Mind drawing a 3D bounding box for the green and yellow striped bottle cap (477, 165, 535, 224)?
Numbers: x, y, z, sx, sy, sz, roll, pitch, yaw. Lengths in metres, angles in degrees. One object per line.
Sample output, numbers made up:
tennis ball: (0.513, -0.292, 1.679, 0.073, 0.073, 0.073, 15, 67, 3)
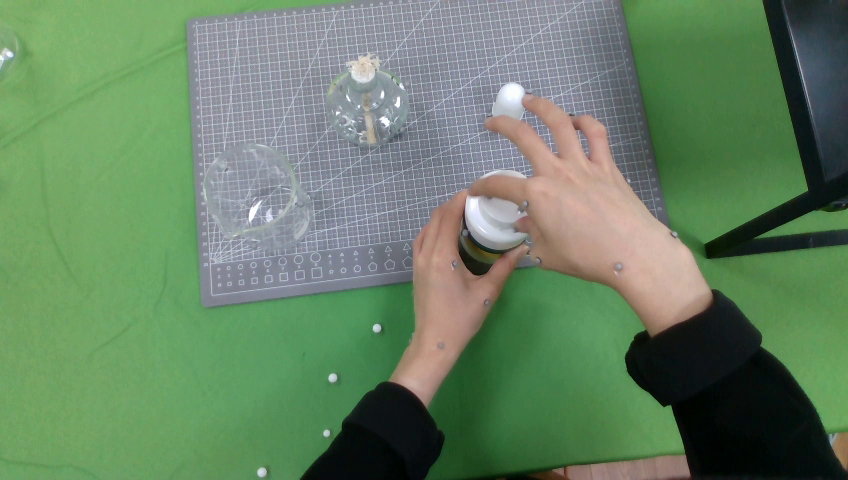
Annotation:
green and yellow striped bottle cap: (0.064, -0.036, 0.474, 0.045, 0.020, 0.045, 0, 79, 0)

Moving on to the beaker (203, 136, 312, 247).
beaker: (-0.142, -0.034, 0.535, 0.074, 0.100, 0.083, 21, 79, 4)

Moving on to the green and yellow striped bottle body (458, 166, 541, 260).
green and yellow striped bottle body: (0.064, -0.024, 0.526, 0.063, 0.120, 0.063, 0, 78, 0)

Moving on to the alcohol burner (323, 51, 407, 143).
alcohol burner: (-0.054, -0.135, 0.550, 0.078, 0.119, 0.077, 1, 77, -2)

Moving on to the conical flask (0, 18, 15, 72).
conical flask: (-0.448, -0.205, 0.555, 0.075, 0.122, 0.075, 0, 78, 0)

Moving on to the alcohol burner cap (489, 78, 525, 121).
alcohol burner cap: (0.082, -0.139, 0.590, 0.034, 0.048, 0.033, 0, 78, -1)
